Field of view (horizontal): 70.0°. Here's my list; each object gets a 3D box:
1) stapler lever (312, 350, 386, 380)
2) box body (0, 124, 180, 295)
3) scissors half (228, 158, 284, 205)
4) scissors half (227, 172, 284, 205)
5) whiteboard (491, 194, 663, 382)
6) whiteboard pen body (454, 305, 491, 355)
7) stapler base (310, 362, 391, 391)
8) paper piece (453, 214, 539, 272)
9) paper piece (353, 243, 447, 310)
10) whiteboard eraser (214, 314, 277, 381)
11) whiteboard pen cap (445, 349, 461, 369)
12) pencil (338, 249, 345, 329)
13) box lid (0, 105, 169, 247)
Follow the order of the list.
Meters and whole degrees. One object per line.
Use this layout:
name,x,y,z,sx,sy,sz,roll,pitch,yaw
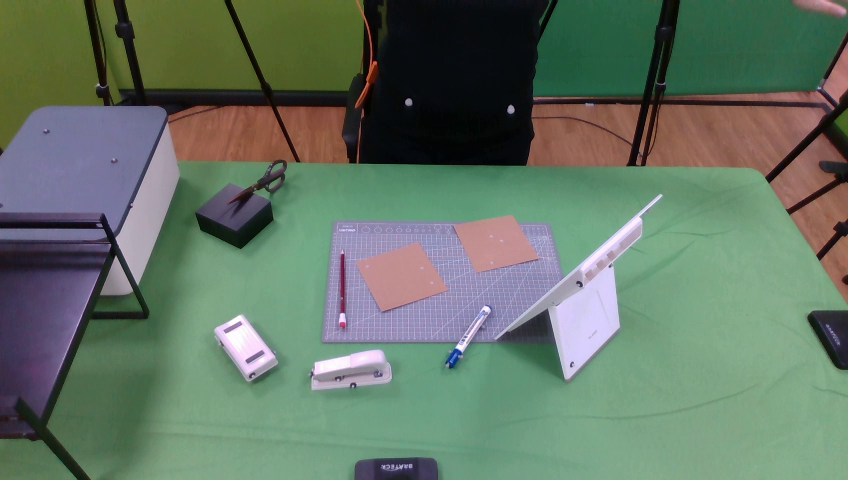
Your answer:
stapler lever,-0.120,0.198,0.963,0.118,0.040,0.026,-4,44,-8
box body,-0.628,-0.075,1.122,0.254,0.161,0.361,1,46,-4
scissors half,-0.337,-0.117,1.218,0.013,0.040,0.174,22,45,15
scissors half,-0.339,-0.101,1.230,0.013,0.040,0.175,18,27,18
whiteboard,0.280,0.100,0.969,0.217,0.306,0.143,-33,77,-31
whiteboard pen body,0.079,0.163,1.047,0.017,0.017,0.140,25,50,19
stapler base,-0.119,0.215,0.981,0.131,0.024,0.041,-5,44,-7
paper piece,0.142,0.003,1.213,0.135,0.004,0.135,-11,47,-14
paper piece,-0.045,0.066,1.137,0.136,0.009,0.137,-13,46,-23
whiteboard eraser,-0.292,0.176,0.990,0.055,0.042,0.112,-30,55,-31
whiteboard pen cap,0.049,0.197,1.011,0.018,0.018,0.033,24,49,17
pencil,-0.152,0.085,1.108,0.012,0.012,0.192,-2,44,-7
box lid,-0.624,-0.125,1.067,0.263,0.015,0.369,0,46,-3
